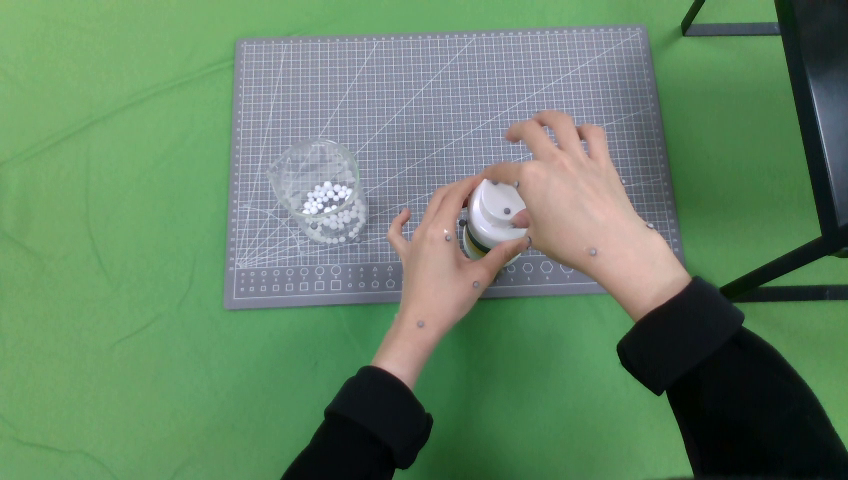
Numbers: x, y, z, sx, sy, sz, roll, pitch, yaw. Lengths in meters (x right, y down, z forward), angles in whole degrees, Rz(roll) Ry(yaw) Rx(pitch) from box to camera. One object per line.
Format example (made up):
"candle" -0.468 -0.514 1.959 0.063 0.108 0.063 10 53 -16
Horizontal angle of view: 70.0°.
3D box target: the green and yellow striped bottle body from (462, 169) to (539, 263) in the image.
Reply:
"green and yellow striped bottle body" 0.067 -0.023 0.546 0.063 0.120 0.063 0 74 1

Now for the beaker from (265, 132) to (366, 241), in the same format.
"beaker" -0.095 -0.045 0.563 0.084 0.101 0.073 9 74 3

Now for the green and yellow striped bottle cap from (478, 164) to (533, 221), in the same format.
"green and yellow striped bottle cap" 0.067 -0.039 0.495 0.045 0.020 0.045 0 75 0
